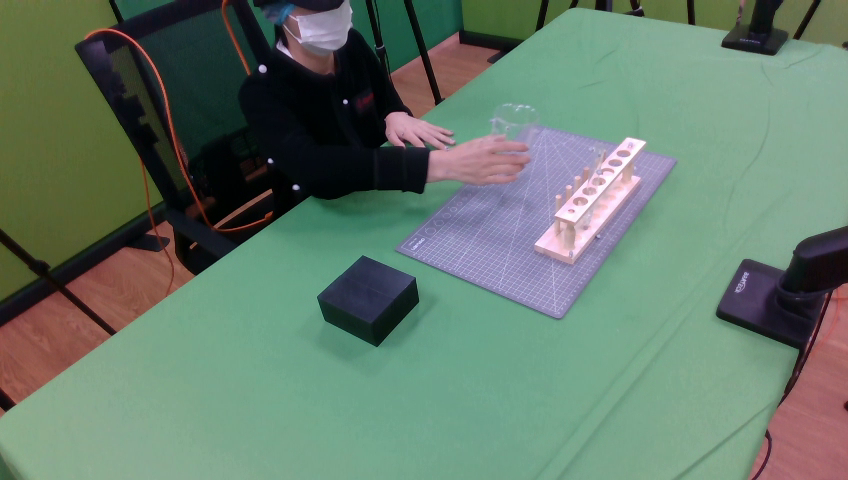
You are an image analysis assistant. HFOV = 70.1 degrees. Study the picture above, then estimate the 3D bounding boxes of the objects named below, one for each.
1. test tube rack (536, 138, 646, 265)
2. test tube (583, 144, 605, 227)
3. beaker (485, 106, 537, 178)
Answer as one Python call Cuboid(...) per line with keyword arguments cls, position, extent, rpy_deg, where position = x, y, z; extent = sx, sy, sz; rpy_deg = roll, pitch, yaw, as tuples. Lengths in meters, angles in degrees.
Cuboid(cls="test tube rack", position=(0.268, -0.071, 0.964), extent=(0.066, 0.085, 0.243), rpy_deg=(23, 49, 32))
Cuboid(cls="test tube", position=(0.251, -0.077, 0.896), extent=(0.017, 0.151, 0.017), rpy_deg=(-3, 43, 3))
Cuboid(cls="beaker", position=(0.140, -0.162, 0.998), extent=(0.074, 0.100, 0.083), rpy_deg=(7, 40, 4))
